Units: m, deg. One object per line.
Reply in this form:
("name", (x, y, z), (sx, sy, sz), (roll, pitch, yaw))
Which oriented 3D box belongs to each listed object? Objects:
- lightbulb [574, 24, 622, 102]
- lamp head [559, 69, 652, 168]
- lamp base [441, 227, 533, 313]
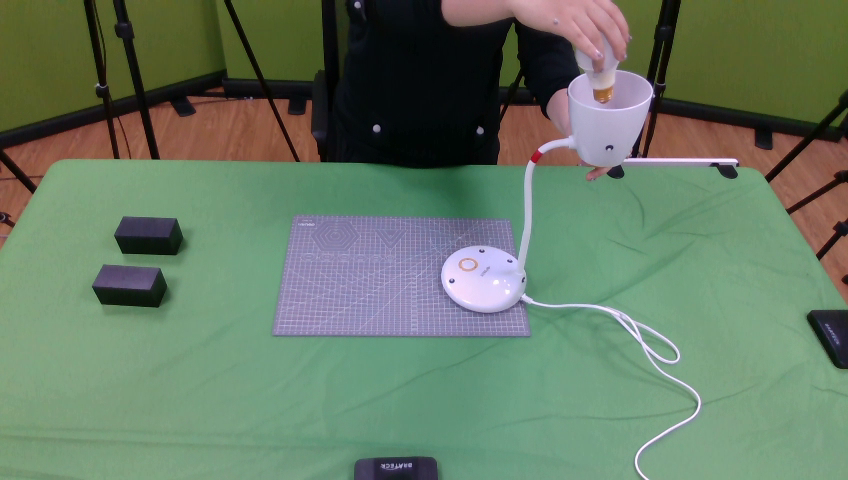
("lightbulb", (0.231, -0.230, 0.798), (0.059, 0.108, 0.059), (-11, 41, 10))
("lamp head", (0.252, -0.164, 0.860), (0.112, 0.123, 0.111), (0, 42, 0))
("lamp base", (0.126, 0.022, 1.072), (0.179, 0.181, 0.160), (23, 49, 14))
